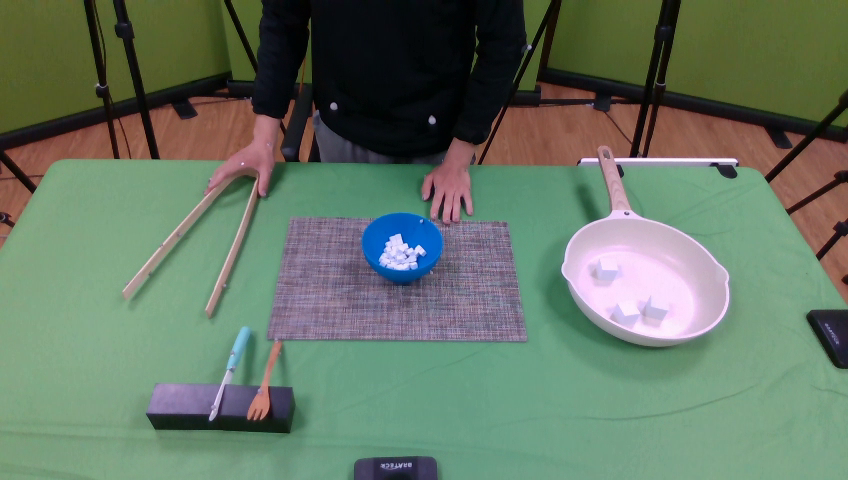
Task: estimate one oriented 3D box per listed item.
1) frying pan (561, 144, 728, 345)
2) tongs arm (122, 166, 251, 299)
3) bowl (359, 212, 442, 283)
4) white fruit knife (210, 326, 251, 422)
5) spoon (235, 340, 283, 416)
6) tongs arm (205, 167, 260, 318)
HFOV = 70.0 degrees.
[{"bbox_3d":[0.397,-0.008,1.179,0.307,0.103,0.485,2,55,-4],"label":"frying pan"},{"bbox_3d":[-0.447,-0.027,1.179,0.051,0.026,0.383,14,46,8],"label":"tongs arm"},{"bbox_3d":[-0.044,0.026,1.125,0.151,0.077,0.150,2,46,-2],"label":"bowl"},{"bbox_3d":[-0.300,0.201,0.941,0.016,0.027,0.206,-2,32,1],"label":"white fruit knife"},{"bbox_3d":[-0.244,0.207,0.932,0.042,0.022,0.193,27,25,-8],"label":"spoon"},{"bbox_3d":[-0.367,-0.010,1.175,0.028,0.028,0.385,2,46,1],"label":"tongs arm"}]
